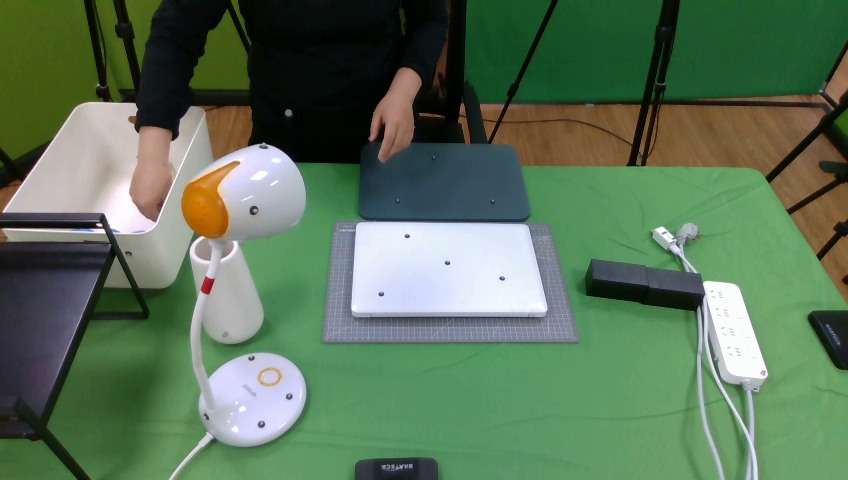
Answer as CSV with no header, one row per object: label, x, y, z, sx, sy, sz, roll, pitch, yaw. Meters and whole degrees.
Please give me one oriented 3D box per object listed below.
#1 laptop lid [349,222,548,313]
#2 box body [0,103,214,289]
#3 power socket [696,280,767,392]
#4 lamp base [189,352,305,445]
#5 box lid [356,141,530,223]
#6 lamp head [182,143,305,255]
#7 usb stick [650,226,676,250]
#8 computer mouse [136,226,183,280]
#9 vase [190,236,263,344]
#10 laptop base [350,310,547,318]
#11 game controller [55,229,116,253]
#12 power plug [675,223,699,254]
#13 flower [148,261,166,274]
laptop lid,0.042,0.046,1.142,0.357,0.013,0.240,2,44,-3
box body,-0.563,-0.087,1.139,0.254,0.161,0.361,2,46,-3
power socket,0.543,0.160,1.077,0.072,0.033,0.225,5,46,2
lamp base,-0.268,0.196,0.876,0.160,0.181,0.179,26,52,20
box lid,0.040,-0.132,1.339,0.372,0.015,0.261,0,46,-4
lamp head,-0.216,-0.044,0.697,0.112,0.113,0.123,23,31,17
usb stick,0.485,-0.008,1.238,0.021,0.027,0.059,-22,44,-13
computer mouse,-0.488,0.020,1.117,0.063,0.041,0.116,2,55,-6
vase,-0.317,0.081,0.971,0.098,0.201,0.097,3,47,-3
laptop base,0.041,0.056,1.149,0.355,0.023,0.234,0,42,-4
game controller,-0.597,0.011,1.116,0.155,0.052,0.096,1,48,-1
power plug,0.537,0.000,1.243,0.053,0.035,0.072,19,82,-17
flower,-0.486,-0.053,1.176,0.038,0.044,0.359,33,24,-28
